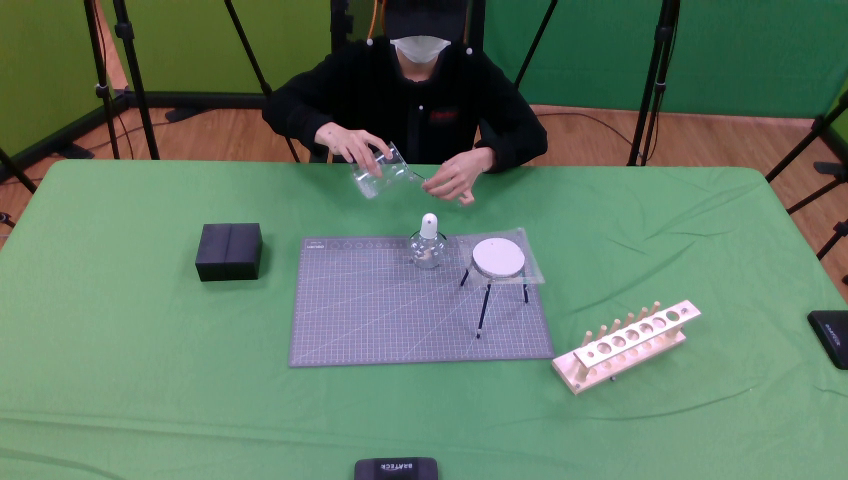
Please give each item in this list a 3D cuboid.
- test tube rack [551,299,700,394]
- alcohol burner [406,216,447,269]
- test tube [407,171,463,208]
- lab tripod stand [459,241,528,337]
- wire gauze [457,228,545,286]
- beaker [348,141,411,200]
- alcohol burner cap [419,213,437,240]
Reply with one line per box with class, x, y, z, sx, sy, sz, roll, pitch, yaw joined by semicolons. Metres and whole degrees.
test tube rack;0.339;0.166;1.021;0.242;0.085;0.066;-19;50;-21
alcohol burner;0.006;-0.002;1.134;0.078;0.120;0.077;2;48;-2
test tube;0.024;-0.099;1.211;0.151;0.017;0.017;27;33;-37
lab tripod stand;0.122;0.075;1.054;0.148;0.132;0.147;3;44;-3
wire gauze;0.126;0.029;1.006;0.125;0.011;0.120;-4;46;-10
beaker;-0.084;-0.127;1.143;0.100;0.084;0.073;-32;40;1
alcohol burner cap;0.009;-0.027;1.109;0.034;0.048;0.033;3;44;-3
